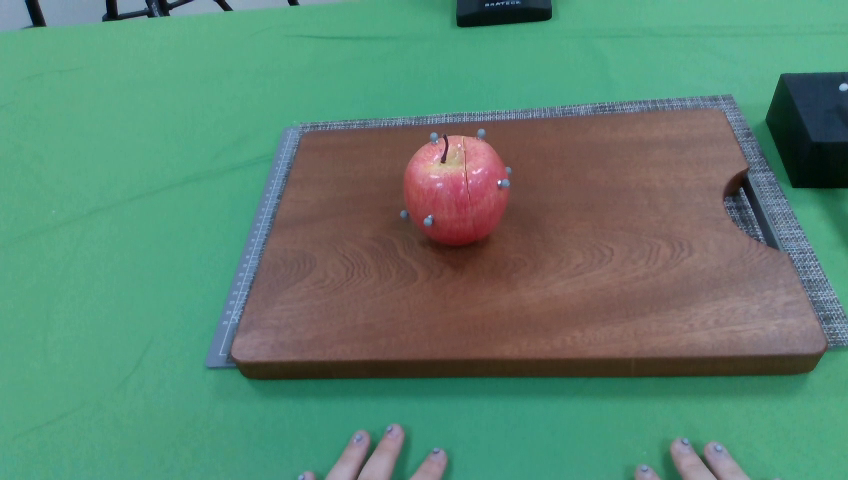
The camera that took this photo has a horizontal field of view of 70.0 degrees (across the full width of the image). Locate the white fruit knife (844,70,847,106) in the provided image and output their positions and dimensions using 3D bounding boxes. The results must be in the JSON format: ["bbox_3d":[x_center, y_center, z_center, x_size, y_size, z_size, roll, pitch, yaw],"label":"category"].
[{"bbox_3d":[0.350,-0.047,0.466,0.027,0.016,0.206,0,66,8],"label":"white fruit knife"}]

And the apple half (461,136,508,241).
[{"bbox_3d":[0.048,-0.040,0.465,0.033,0.082,0.080,-8,46,7],"label":"apple half"}]

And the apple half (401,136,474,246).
[{"bbox_3d":[0.010,-0.036,0.468,0.053,0.075,0.080,-8,50,7],"label":"apple half"}]
